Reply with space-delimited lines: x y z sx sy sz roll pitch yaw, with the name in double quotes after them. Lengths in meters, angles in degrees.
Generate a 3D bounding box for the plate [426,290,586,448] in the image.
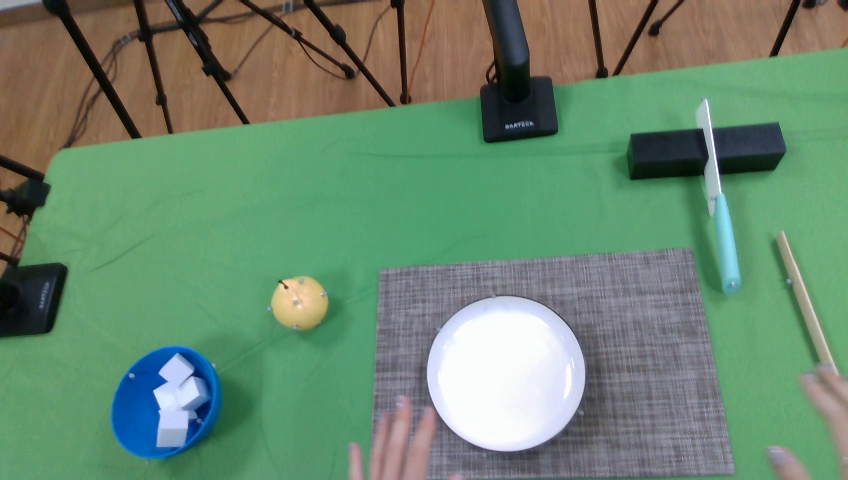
0.107 0.169 0.801 0.207 0.039 0.206 -4 65 9 "plate"

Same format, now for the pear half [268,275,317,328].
-0.197 0.085 0.861 0.056 0.111 0.075 -29 53 -4 "pear half"

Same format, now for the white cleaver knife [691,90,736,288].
0.401 -0.073 0.845 0.021 0.066 0.285 -4 74 14 "white cleaver knife"

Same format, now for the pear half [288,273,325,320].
-0.163 0.074 0.871 0.031 0.089 0.069 -28 53 -3 "pear half"

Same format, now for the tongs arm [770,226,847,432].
0.506 0.155 0.744 0.028 0.028 0.384 -10 64 4 "tongs arm"

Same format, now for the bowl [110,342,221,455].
-0.342 0.224 0.839 0.151 0.077 0.150 -4 65 9 "bowl"
